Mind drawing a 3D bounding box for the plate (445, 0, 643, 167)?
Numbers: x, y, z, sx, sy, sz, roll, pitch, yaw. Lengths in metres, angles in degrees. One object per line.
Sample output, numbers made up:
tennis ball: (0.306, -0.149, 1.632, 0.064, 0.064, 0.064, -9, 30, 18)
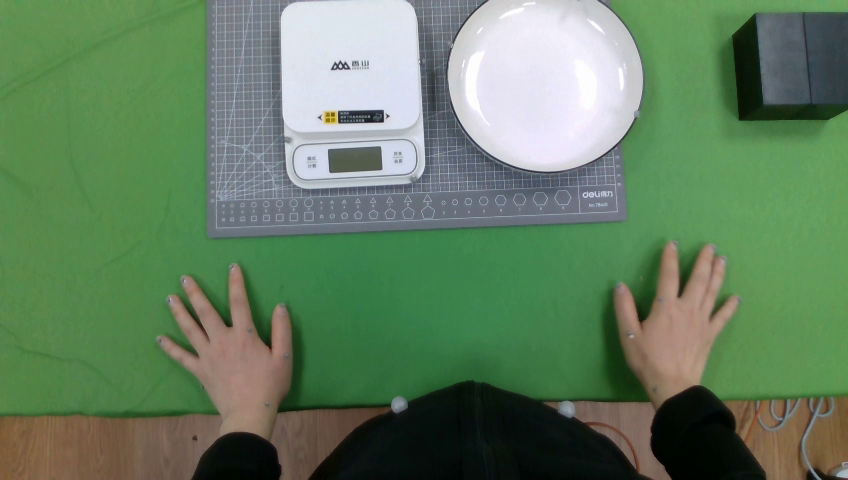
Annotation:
plate: (0.126, -0.177, 0.648, 0.209, 0.038, 0.208, 0, 84, -1)

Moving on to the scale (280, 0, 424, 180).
scale: (-0.078, -0.167, 0.649, 0.149, 0.031, 0.200, -3, 85, 0)
